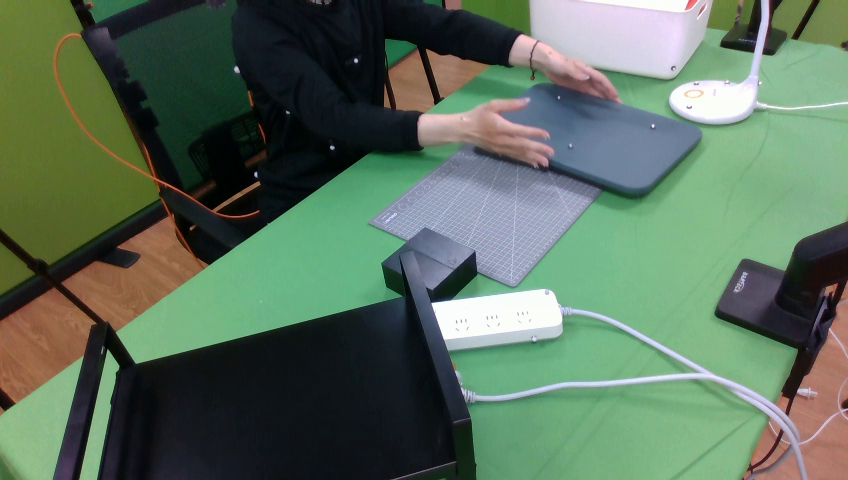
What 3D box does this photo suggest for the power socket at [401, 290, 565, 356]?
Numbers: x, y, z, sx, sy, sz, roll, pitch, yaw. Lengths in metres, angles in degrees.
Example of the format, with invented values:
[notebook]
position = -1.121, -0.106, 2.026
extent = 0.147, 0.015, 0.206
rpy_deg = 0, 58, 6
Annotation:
[power socket]
position = 0.080, 0.112, 0.822
extent = 0.227, 0.033, 0.072
rpy_deg = -7, 41, 0

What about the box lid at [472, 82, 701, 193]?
[box lid]
position = 0.301, -0.208, 1.147
extent = 0.368, 0.015, 0.264
rpy_deg = 28, 48, 32

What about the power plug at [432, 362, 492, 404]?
[power plug]
position = 0.045, 0.182, 0.758
extent = 0.073, 0.035, 0.052
rpy_deg = 21, 43, -18

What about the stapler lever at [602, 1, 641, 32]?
[stapler lever]
position = 0.451, -0.517, 1.378
extent = 0.118, 0.040, 0.026
rpy_deg = -39, 63, -18

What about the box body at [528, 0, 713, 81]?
[box body]
position = 0.450, -0.512, 1.398
extent = 0.361, 0.161, 0.254
rpy_deg = 19, 48, 28

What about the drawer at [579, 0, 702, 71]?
[drawer]
position = 0.484, -0.489, 1.360
extent = 0.210, 0.073, 0.194
rpy_deg = 24, 63, 21

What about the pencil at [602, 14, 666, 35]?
[pencil]
position = 0.483, -0.495, 1.388
extent = 0.195, 0.012, 0.012
rpy_deg = -22, 42, -20

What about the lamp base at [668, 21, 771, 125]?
[lamp base]
position = 0.577, -0.333, 1.155
extent = 0.179, 0.181, 0.160
rpy_deg = 6, 42, 12

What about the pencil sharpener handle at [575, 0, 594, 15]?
[pencil sharpener handle]
position = 0.401, -0.594, 1.511
extent = 0.036, 0.067, 0.030
rpy_deg = 37, 49, -1

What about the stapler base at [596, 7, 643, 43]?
[stapler base]
position = 0.453, -0.502, 1.397
extent = 0.131, 0.024, 0.041
rpy_deg = -39, 63, -19

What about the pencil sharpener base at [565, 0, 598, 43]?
[pencil sharpener base]
position = 0.388, -0.549, 1.483
extent = 0.061, 0.107, 0.077
rpy_deg = 14, 44, 23

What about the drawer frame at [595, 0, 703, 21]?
[drawer frame]
position = 0.487, -0.489, 1.360
extent = 0.212, 0.083, 0.202
rpy_deg = 24, 62, 20
